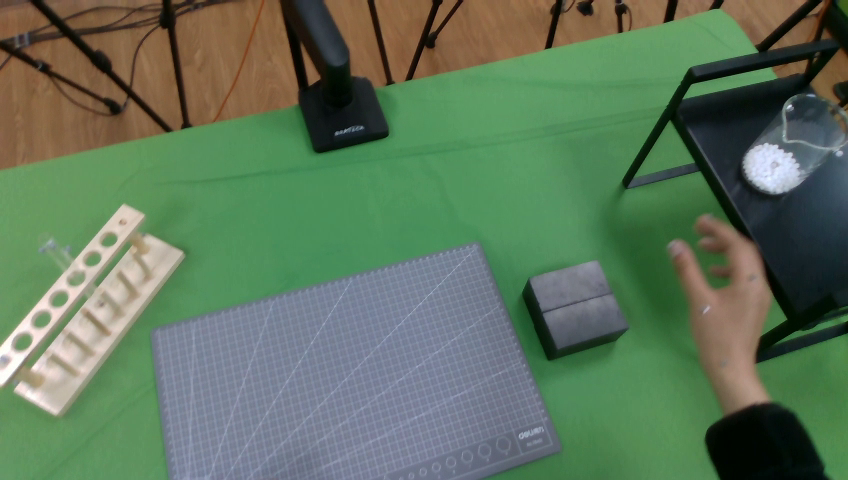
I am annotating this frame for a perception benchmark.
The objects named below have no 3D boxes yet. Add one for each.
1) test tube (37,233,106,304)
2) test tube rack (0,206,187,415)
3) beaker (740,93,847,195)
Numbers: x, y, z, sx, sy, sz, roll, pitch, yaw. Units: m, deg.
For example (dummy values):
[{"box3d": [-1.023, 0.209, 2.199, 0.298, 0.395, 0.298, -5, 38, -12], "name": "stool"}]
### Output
[{"box3d": [-0.410, 0.037, 0.713, 0.017, 0.151, 0.017, 1, 58, -2], "name": "test tube"}, {"box3d": [-0.405, 0.083, 0.744, 0.066, 0.086, 0.241, 25, 64, 10], "name": "test tube rack"}, {"box3d": [0.411, -0.102, 0.682, 0.084, 0.101, 0.073, -28, 67, -16], "name": "beaker"}]
